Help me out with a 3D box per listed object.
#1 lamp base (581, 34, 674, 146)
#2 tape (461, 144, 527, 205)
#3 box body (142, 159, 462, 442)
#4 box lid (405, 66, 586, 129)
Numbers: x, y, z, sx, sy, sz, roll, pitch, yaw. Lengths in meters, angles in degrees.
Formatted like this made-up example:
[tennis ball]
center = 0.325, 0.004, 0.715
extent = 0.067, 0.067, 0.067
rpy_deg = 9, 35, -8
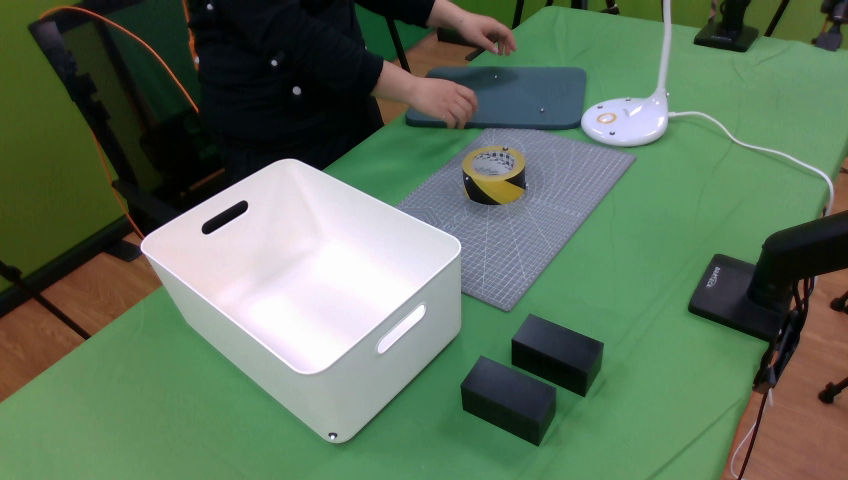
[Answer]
[lamp base]
center = 0.392, -0.291, 1.129
extent = 0.180, 0.181, 0.159
rpy_deg = -11, 41, -8
[tape]
center = 0.124, -0.116, 1.058
extent = 0.117, 0.053, 0.116
rpy_deg = -4, 42, 4
[box body]
center = -0.152, 0.063, 0.809
extent = 0.361, 0.161, 0.255
rpy_deg = 27, 51, 33
[box lid]
center = 0.163, -0.317, 1.322
extent = 0.370, 0.015, 0.263
rpy_deg = 5, 42, 14
